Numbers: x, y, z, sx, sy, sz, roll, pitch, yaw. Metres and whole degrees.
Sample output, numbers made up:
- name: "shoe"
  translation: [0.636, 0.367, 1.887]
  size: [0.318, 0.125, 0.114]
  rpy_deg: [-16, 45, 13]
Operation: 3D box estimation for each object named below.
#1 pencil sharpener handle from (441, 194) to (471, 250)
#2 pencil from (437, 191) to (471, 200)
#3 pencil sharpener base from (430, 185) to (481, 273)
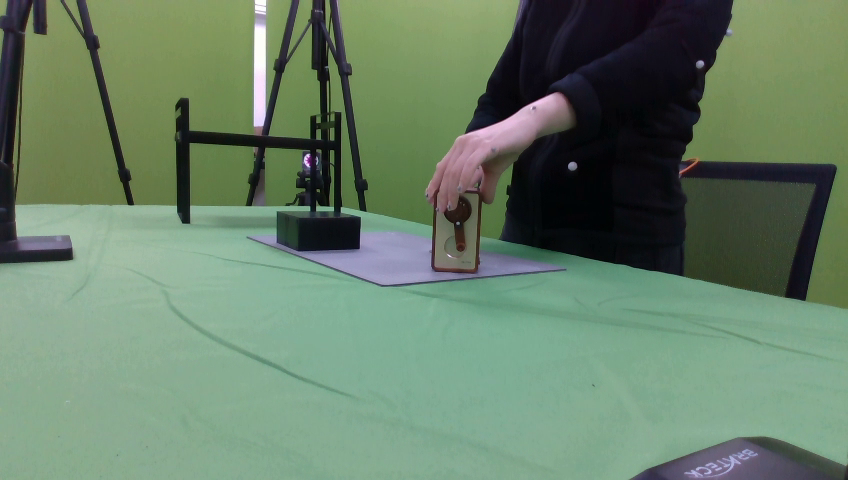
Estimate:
- name: "pencil sharpener handle"
  translation: [0.041, -0.022, 0.731]
  size: [0.036, 0.067, 0.030]
  rpy_deg: [-11, 6, 6]
- name: "pencil"
  translation: [0.045, -0.066, 0.887]
  size: [0.012, 0.012, 0.194]
  rpy_deg: [4, 4, 16]
- name: "pencil sharpener base"
  translation: [0.041, -0.016, 0.783]
  size: [0.061, 0.107, 0.077]
  rpy_deg: [3, 8, 4]
